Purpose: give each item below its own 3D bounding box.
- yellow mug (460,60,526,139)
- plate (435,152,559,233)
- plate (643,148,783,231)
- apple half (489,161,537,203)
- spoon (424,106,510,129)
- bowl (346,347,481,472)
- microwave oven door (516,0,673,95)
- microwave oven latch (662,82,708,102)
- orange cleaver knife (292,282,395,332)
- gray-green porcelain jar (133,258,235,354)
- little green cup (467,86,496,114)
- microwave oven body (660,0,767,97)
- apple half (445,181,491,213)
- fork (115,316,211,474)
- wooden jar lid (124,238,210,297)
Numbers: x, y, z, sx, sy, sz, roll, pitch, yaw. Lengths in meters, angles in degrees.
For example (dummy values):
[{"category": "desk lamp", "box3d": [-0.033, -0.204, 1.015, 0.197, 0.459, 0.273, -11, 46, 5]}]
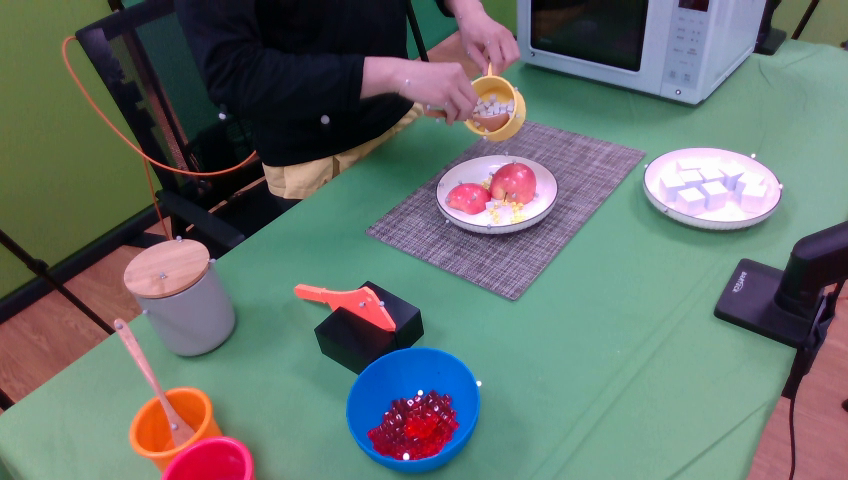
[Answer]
[{"category": "yellow mug", "box3d": [0.119, -0.243, 1.036, 0.099, 0.130, 0.064, 0, -1, 22]}, {"category": "plate", "box3d": [0.124, -0.078, 1.026, 0.209, 0.038, 0.208, -4, 40, 4]}, {"category": "plate", "box3d": [0.464, -0.080, 0.986, 0.207, 0.039, 0.206, -4, 41, 4]}, {"category": "apple half", "box3d": [0.154, -0.106, 1.030, 0.080, 0.053, 0.075, 21, 46, 31]}, {"category": "spoon", "box3d": [0.071, -0.198, 0.963, 0.195, 0.041, 0.021, -1, 53, -40]}, {"category": "bowl", "box3d": [-0.008, 0.205, 0.691, 0.151, 0.077, 0.150, -4, 40, 4]}, {"category": "microwave oven door", "box3d": [0.344, -0.458, 1.257, 0.353, 0.245, 0.039, 26, 52, 33]}, {"category": "microwave oven latch", "box3d": [0.518, -0.298, 1.202, 0.078, 0.029, 0.030, 28, 53, 35]}, {"category": "orange cleaver knife", "box3d": [-0.116, 0.091, 0.835, 0.209, 0.077, 0.012, 2, 32, 48]}, {"category": "gray-green porcelain jar", "box3d": [-0.327, 0.086, 0.836, 0.106, 0.127, 0.105, -4, 41, 4]}, {"category": "little green cup", "box3d": [0.123, -0.296, 1.284, 0.061, 0.039, 0.061, -5, 39, 4]}, {"category": "microwave oven body", "box3d": [0.473, -0.516, 1.313, 0.438, 0.261, 0.327, 26, 51, 34]}, {"category": "apple half", "box3d": [0.076, -0.083, 1.029, 0.081, 0.033, 0.081, -2, 42, 2]}, {"category": "fork", "box3d": [-0.308, 0.179, 0.708, 0.028, 0.018, 0.207, -30, 89, -22]}, {"category": "wooden jar lid", "box3d": [-0.335, 0.039, 0.794, 0.108, 0.021, 0.108, -2, 40, 2]}]
